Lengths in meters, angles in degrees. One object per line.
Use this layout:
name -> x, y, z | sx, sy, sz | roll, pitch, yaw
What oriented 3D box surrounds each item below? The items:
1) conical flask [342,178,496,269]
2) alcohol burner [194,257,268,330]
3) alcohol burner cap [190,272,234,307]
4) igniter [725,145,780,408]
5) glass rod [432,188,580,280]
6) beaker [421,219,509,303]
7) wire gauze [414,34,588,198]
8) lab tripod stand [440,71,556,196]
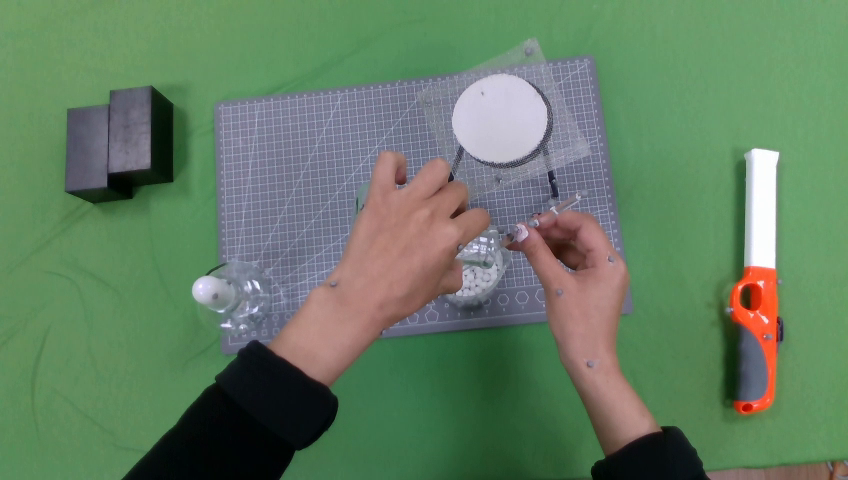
conical flask -> -0.003, -0.006, 0.503 | 0.122, 0.075, 0.075 | 9, 80, -9
alcohol burner -> -0.206, 0.054, 0.625 | 0.078, 0.119, 0.077 | 0, 80, 3
alcohol burner cap -> -0.208, 0.046, 0.590 | 0.034, 0.048, 0.033 | 0, 77, 0
igniter -> 0.342, 0.035, 0.630 | 0.057, 0.025, 0.275 | 8, 80, -4
glass rod -> 0.061, 0.000, 0.522 | 0.008, 0.200, 0.008 | 15, 60, -28
beaker -> 0.043, 0.025, 0.617 | 0.084, 0.100, 0.073 | -8, 79, 3
wire gauze -> 0.068, -0.113, 0.554 | 0.125, 0.011, 0.121 | -23, 80, 1
lab tripod stand -> 0.075, -0.099, 0.620 | 0.148, 0.132, 0.148 | -1, 81, 5
